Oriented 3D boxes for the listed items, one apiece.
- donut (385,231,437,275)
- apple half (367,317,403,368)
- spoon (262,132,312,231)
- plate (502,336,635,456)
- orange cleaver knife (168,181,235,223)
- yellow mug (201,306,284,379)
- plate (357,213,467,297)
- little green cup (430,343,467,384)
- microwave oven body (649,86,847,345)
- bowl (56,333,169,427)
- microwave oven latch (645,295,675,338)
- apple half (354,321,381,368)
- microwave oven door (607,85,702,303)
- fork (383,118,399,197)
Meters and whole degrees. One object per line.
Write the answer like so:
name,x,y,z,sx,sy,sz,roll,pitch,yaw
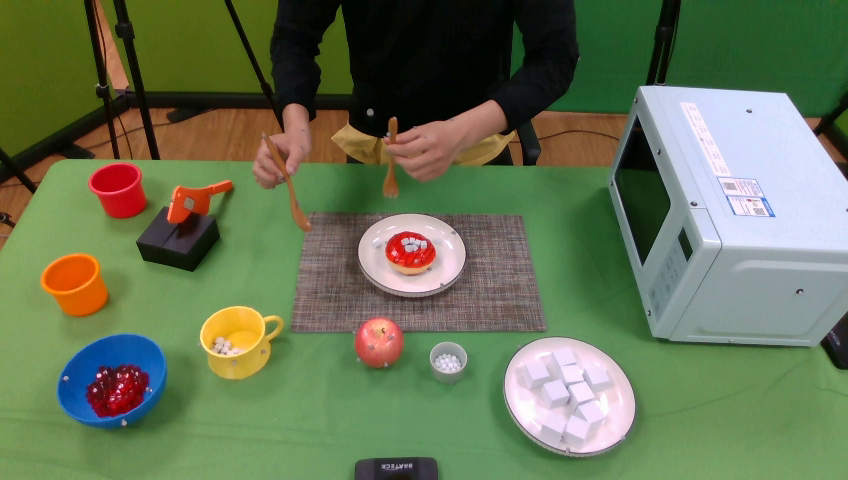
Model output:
donut,-0.024,0.023,1.141,0.099,0.048,0.098,4,44,-3
apple half,-0.062,0.167,0.998,0.053,0.075,0.080,-11,44,-20
spoon,-0.226,-0.094,1.006,0.021,0.195,0.041,-9,35,7
plate,0.225,0.248,0.963,0.208,0.039,0.206,2,46,-2
orange cleaver knife,-0.436,-0.077,1.196,0.012,0.077,0.211,16,15,10
yellow mug,-0.291,0.160,0.993,0.131,0.064,0.099,-23,51,-25
plate,-0.023,0.031,1.149,0.209,0.038,0.208,3,46,-2
little green cup,0.039,0.203,0.994,0.061,0.039,0.061,2,46,-2
microwave oven body,0.568,-0.053,1.118,0.326,0.261,0.439,2,45,-1
bowl,-0.456,0.223,0.911,0.151,0.077,0.150,3,46,-2
microwave oven latch,0.412,0.134,1.061,0.030,0.029,0.078,3,45,0
apple half,-0.097,0.176,0.985,0.033,0.081,0.080,-12,48,-20
microwave oven door,0.423,-0.094,1.140,0.039,0.245,0.353,2,46,-1
fork,-0.052,-0.129,0.999,0.028,0.208,0.018,7,56,0
